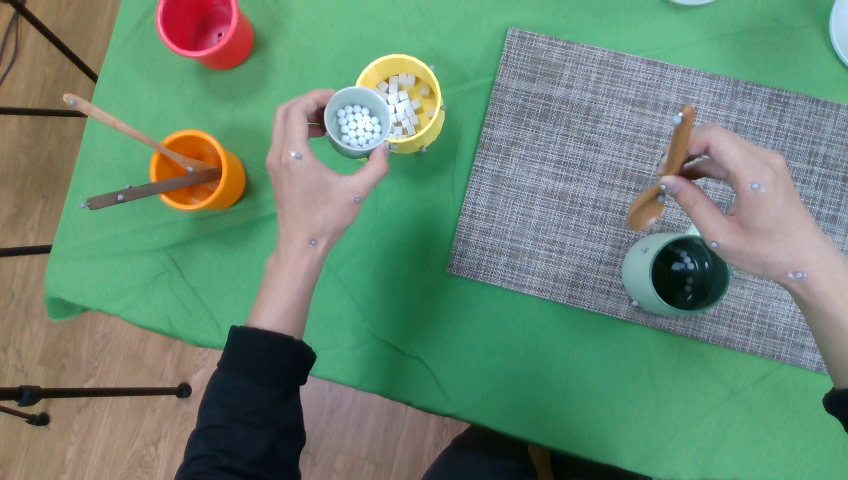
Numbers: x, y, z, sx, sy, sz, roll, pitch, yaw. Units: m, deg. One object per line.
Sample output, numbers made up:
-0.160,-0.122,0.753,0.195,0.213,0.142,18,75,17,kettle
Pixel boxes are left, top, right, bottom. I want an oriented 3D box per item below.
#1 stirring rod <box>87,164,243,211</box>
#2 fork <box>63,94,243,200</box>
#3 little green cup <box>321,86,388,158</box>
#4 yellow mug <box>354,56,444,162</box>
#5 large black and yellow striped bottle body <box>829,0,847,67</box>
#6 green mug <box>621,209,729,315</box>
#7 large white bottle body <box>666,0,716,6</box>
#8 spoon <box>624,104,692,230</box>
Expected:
-0.288,-0.061,0.687,0.176,0.006,0.014,-22,87,-38,stirring rod
-0.299,-0.102,0.684,0.209,0.018,0.028,32,87,-37,fork
-0.065,-0.106,0.563,0.062,0.038,0.061,2,80,-11,little green cup
-0.038,-0.143,0.705,0.100,0.064,0.131,40,93,5,yellow mug
0.516,-0.246,0.601,0.130,0.184,0.130,0,87,6,large black and yellow striped bottle body
0.275,0.022,0.649,0.092,0.105,0.125,32,91,6,green mug
0.303,-0.340,0.622,0.130,0.185,0.130,0,87,6,large white bottle body
0.184,-0.050,0.470,0.041,0.195,0.021,-31,70,-1,spoon
